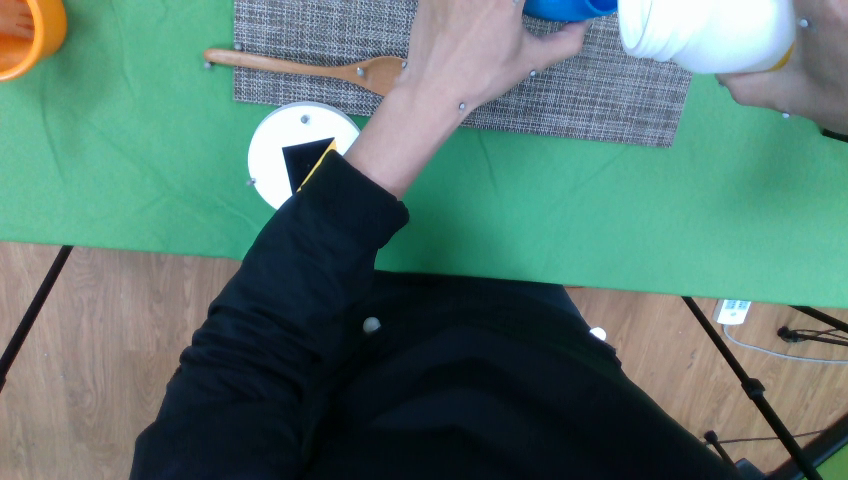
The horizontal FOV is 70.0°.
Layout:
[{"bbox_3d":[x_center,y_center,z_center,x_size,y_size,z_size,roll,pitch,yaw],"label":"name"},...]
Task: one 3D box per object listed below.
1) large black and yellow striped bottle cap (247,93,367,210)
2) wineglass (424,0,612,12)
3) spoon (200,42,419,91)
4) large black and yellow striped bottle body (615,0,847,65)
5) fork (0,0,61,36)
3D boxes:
[{"bbox_3d":[-0.112,-0.083,0.587,0.115,0.018,0.116,-5,119,-9],"label":"large black and yellow striped bottle cap"},{"bbox_3d":[0.067,-0.209,0.454,0.074,0.170,0.074,-14,114,-34],"label":"wineglass"},{"bbox_3d":[-0.101,-0.162,0.546,0.194,0.021,0.042,3,135,-12],"label":"spoon"},{"bbox_3d":[0.214,-0.170,0.350,0.184,0.130,0.131,0,115,5],"label":"large black and yellow striped bottle body"},{"bbox_3d":[-0.367,-0.176,0.423,0.208,0.018,0.028,-8,132,-56],"label":"fork"}]
